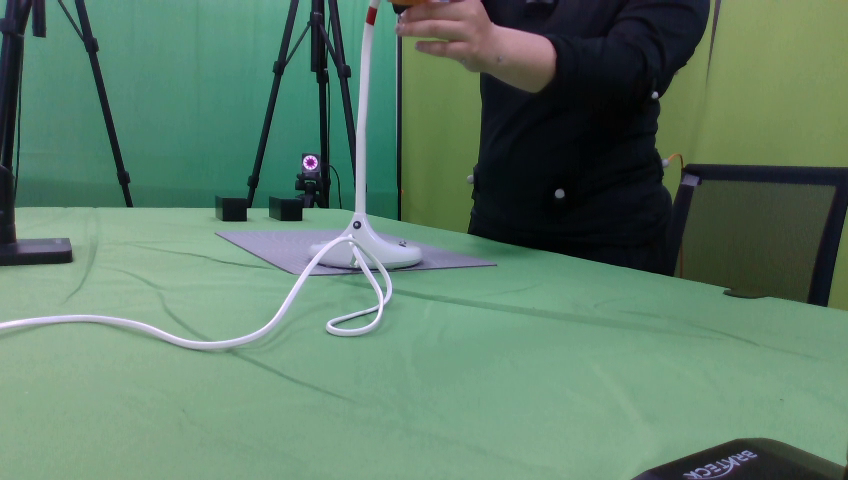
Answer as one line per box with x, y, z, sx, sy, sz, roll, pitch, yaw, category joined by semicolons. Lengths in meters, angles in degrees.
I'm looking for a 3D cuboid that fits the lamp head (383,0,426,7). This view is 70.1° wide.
-0.024;-0.325;0.671;0.112;0.123;0.112;4;3;0;lamp head

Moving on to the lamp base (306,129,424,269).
-0.077;-0.057;0.810;0.161;0.180;0.179;2;10;-4;lamp base
